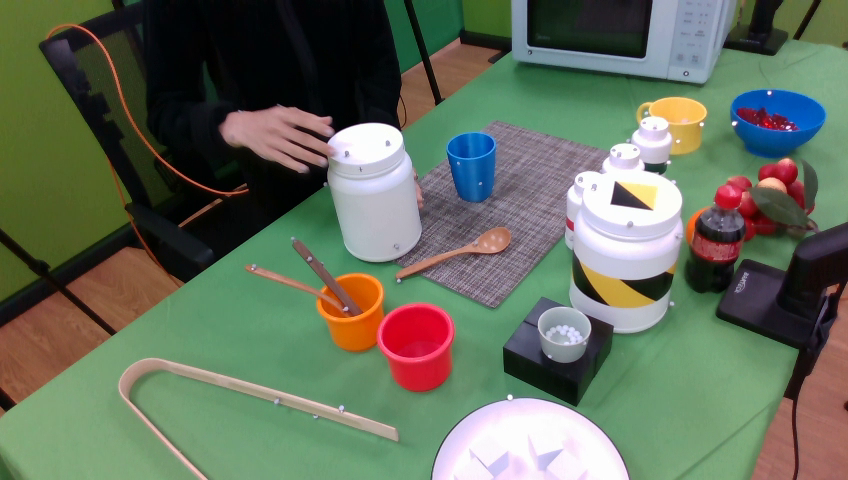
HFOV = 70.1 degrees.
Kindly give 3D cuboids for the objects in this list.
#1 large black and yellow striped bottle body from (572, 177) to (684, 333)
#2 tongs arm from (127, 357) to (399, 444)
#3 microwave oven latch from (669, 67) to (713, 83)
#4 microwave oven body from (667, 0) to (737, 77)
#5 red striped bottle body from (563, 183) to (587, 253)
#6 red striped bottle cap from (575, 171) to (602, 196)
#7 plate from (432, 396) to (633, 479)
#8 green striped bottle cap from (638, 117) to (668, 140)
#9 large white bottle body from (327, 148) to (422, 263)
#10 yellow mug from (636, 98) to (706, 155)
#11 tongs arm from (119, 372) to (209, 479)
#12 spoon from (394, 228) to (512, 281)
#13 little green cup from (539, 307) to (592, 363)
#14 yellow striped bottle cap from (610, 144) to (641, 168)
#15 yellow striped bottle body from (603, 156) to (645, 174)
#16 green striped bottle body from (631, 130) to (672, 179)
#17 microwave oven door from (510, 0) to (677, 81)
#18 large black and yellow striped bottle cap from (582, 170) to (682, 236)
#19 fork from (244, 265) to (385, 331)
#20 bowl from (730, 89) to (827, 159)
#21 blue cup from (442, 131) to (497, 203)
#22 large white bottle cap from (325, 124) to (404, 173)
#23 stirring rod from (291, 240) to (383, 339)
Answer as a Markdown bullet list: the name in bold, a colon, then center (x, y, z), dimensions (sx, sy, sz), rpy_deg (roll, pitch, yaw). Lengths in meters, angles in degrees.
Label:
- **large black and yellow striped bottle body**: center (0.262, 0.017, 0.788), dimensions (0.131, 0.185, 0.130), rpy_deg (-5, 40, 4)
- **tongs arm**: center (-0.213, 0.205, 0.755), dimensions (0.382, 0.026, 0.051), rpy_deg (12, 46, 23)
- **microwave oven latch**: center (0.556, -0.349, 1.261), dimensions (0.078, 0.029, 0.030), rpy_deg (16, 46, 27)
- **microwave oven body**: center (0.462, -0.552, 1.368), dimensions (0.439, 0.261, 0.326), rpy_deg (14, 45, 26)
- **red striped bottle body**: center (0.246, -0.041, 0.910), dimensions (0.063, 0.120, 0.062), rpy_deg (-2, 38, 2)
- **red striped bottle cap**: center (0.242, -0.081, 0.876), dimensions (0.044, 0.018, 0.044), rpy_deg (-5, 44, 5)
- **plate**: center (0.112, 0.261, 0.634), dimensions (0.209, 0.038, 0.208), rpy_deg (-5, 40, 4)
- **green striped bottle cap**: center (0.369, -0.180, 0.974), dimensions (0.044, 0.020, 0.044), rpy_deg (-4, 41, 4)
- **large white bottle body**: center (-0.077, -0.071, 0.939), dimensions (0.130, 0.185, 0.130), rpy_deg (-5, 40, 4)
- **yellow mug**: center (0.453, -0.217, 1.128), dimensions (0.100, 0.064, 0.129), rpy_deg (-34, 46, -27)
- **tongs arm**: center (-0.258, 0.257, 0.700), dimensions (0.384, 0.028, 0.028), rpy_deg (24, 55, 34)
- **spoon**: center (0.045, 0.024, 0.935), dimensions (0.194, 0.022, 0.041), rpy_deg (-18, 66, -11)
- **little green cup**: center (0.168, 0.115, 0.721), dimensions (0.061, 0.039, 0.061), rpy_deg (-4, 42, 4)
- **yellow striped bottle cap**: center (0.307, -0.128, 0.923), dimensions (0.044, 0.019, 0.044), rpy_deg (-6, 39, 5)
- **yellow striped bottle body**: center (0.313, -0.089, 0.956), dimensions (0.063, 0.121, 0.062), rpy_deg (-4, 40, 4)
- **green striped bottle body**: center (0.375, -0.140, 1.007), dimensions (0.063, 0.120, 0.063), rpy_deg (-5, 40, 5)
- **microwave oven door**: center (0.354, -0.478, 1.290), dimensions (0.353, 0.245, 0.039), rpy_deg (15, 45, 25)
- **large black and yellow striped bottle cap**: center (0.252, -0.048, 0.735), dimensions (0.115, 0.019, 0.114), rpy_deg (-3, 40, 3)
- **fork**: center (-0.142, 0.078, 0.807), dimensions (0.209, 0.018, 0.028), rpy_deg (30, 32, -23)
- **bowl**: center (0.615, -0.197, 1.069), dimensions (0.151, 0.077, 0.150), rpy_deg (-5, 40, 5)
- **blue cup**: center (0.085, -0.121, 1.039), dimensions (0.092, 0.101, 0.092), rpy_deg (-5, 41, 5)
- **large white bottle cap**: center (-0.087, -0.135, 0.884), dimensions (0.115, 0.018, 0.114), rpy_deg (-4, 40, 4)
- **stirring rod**: center (-0.118, 0.068, 0.825), dimensions (0.176, 0.006, 0.014), rpy_deg (48, 58, -3)
